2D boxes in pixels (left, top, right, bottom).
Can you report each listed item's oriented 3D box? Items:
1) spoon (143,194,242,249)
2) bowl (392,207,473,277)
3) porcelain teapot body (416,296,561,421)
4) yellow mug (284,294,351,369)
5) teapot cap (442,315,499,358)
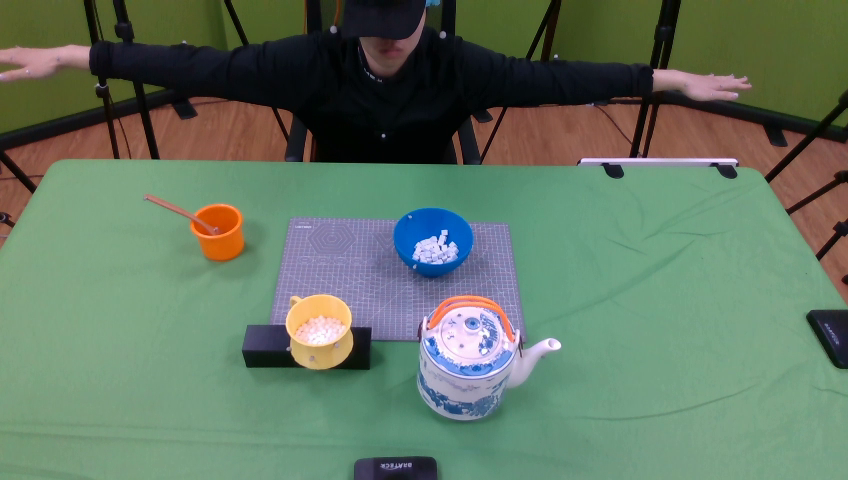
[{"bbox_3d":[-0.421,-0.036,1.112,0.021,0.195,0.041,-35,38,24],"label":"spoon"},{"bbox_3d":[0.014,0.016,1.140,0.151,0.077,0.150,2,46,-2],"label":"bowl"},{"bbox_3d":[0.094,0.164,0.907,0.205,0.226,0.144,6,45,1],"label":"porcelain teapot body"},{"bbox_3d":[-0.175,0.134,0.955,0.100,0.064,0.130,-33,56,-31],"label":"yellow mug"},{"bbox_3d":[0.068,0.133,0.880,0.085,0.044,0.084,4,45,-4],"label":"teapot cap"}]
